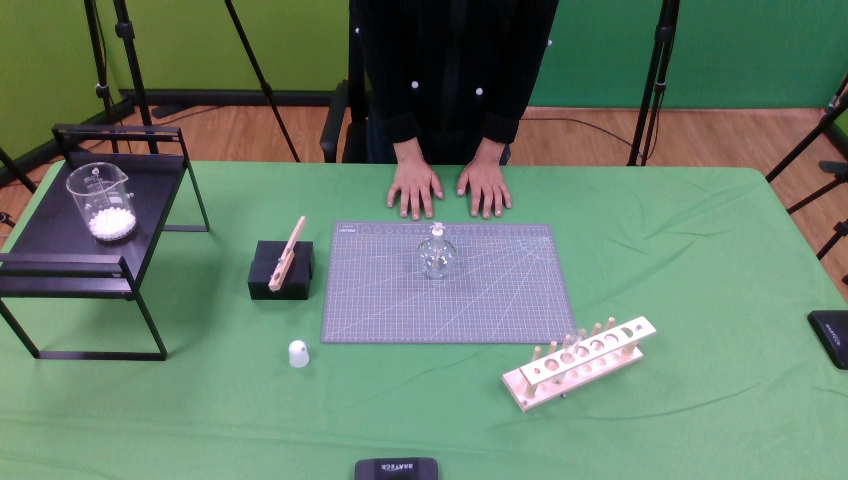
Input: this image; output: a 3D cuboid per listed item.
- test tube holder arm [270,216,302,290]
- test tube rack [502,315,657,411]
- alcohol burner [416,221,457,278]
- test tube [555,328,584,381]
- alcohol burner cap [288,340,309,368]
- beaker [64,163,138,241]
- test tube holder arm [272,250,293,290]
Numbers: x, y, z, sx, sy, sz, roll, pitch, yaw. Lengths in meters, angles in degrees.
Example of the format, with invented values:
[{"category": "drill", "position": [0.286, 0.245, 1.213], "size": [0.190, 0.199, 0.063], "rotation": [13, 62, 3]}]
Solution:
[{"category": "test tube holder arm", "position": [-0.248, 0.019, 1.095], "size": [0.013, 0.015, 0.177], "rotation": [7, 45, 1]}, {"category": "test tube rack", "position": [0.253, 0.186, 0.989], "size": [0.242, 0.085, 0.066], "rotation": [-18, 50, -20]}, {"category": "alcohol burner", "position": [0.024, 0.013, 1.116], "size": [0.078, 0.120, 0.077], "rotation": [1, 45, -1]}, {"category": "test tube", "position": [0.221, 0.178, 0.926], "size": [0.017, 0.151, 0.017], "rotation": [0, 51, 0]}, {"category": "alcohol burner cap", "position": [-0.207, 0.183, 0.991], "size": [0.034, 0.048, 0.033], "rotation": [3, 46, -3]}, {"category": "beaker", "position": [-0.477, -0.055, 0.910], "size": [0.084, 0.101, 0.073], "rotation": [-9, 48, -13]}, {"category": "test tube holder arm", "position": [-0.248, 0.051, 1.063], "size": [0.010, 0.015, 0.087], "rotation": [8, 45, 3]}]
